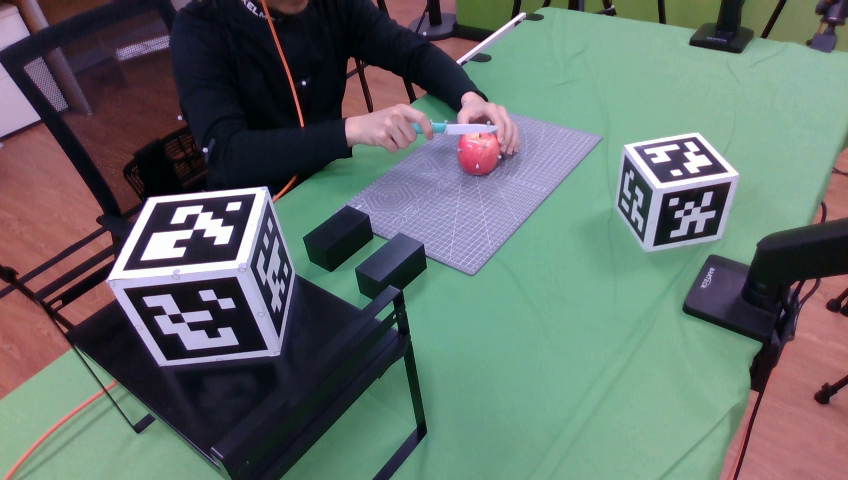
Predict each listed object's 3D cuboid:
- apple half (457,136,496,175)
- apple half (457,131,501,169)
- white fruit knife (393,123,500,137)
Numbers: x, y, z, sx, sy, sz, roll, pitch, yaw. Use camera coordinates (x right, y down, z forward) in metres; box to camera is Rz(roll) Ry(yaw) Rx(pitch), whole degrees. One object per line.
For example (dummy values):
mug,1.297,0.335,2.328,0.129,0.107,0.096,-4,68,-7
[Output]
apple half,0.088,-0.144,1.081,0.081,0.081,0.033,17,43,25
apple half,0.107,-0.167,1.107,0.080,0.075,0.053,12,39,28
white fruit knife,0.036,-0.197,1.072,0.206,0.027,0.016,2,50,22
